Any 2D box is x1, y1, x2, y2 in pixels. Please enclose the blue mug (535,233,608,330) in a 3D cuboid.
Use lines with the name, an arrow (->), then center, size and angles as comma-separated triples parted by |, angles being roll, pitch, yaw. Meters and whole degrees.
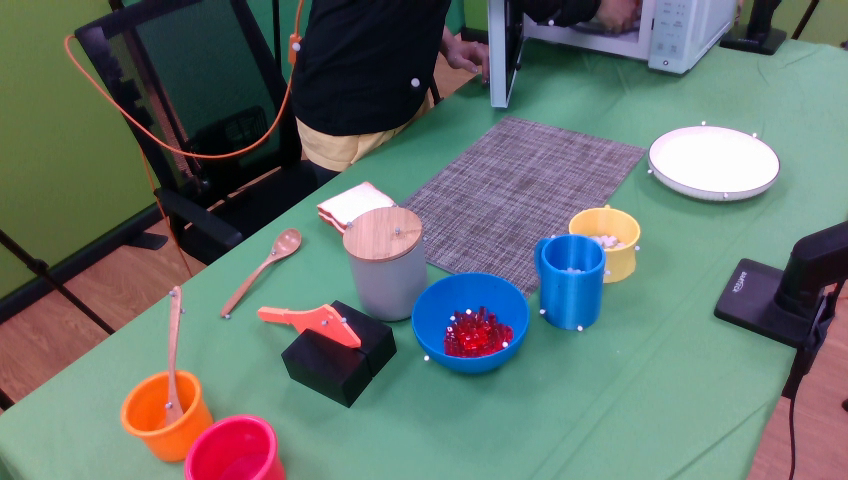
blue mug -> 0.191, 0.048, 0.824 | 0.082, 0.106, 0.115 | -26, 44, -20

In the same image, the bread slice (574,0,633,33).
bread slice -> 0.431, -0.565, 1.474 | 0.105, 0.019, 0.131 | -29, 70, -24

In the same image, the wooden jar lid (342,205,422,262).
wooden jar lid -> -0.055, -0.005, 0.808 | 0.108, 0.021, 0.108 | -6, 41, 6

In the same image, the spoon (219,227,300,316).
spoon -> -0.260, 0.046, 0.954 | 0.041, 0.021, 0.194 | 27, 48, 10

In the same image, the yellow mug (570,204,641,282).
yellow mug -> 0.268, -0.005, 0.904 | 0.099, 0.064, 0.130 | 7, 42, 15

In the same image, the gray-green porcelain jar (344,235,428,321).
gray-green porcelain jar -> -0.049, 0.042, 0.849 | 0.106, 0.127, 0.105 | -4, 41, 4

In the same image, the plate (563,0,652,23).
plate -> 0.440, -0.574, 1.456 | 0.209, 0.038, 0.208 | -5, 45, 5

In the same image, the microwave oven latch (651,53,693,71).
microwave oven latch -> 0.533, -0.386, 1.301 | 0.078, 0.029, 0.030 | 27, 52, 34

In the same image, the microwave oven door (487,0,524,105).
microwave oven door -> 0.182, -0.488, 1.314 | 0.039, 0.245, 0.355 | 4, 42, 13

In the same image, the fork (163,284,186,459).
fork -> -0.303, 0.157, 0.733 | 0.028, 0.019, 0.207 | -3, 84, 13

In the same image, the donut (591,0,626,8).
donut -> 0.436, -0.589, 1.431 | 0.099, 0.048, 0.098 | -2, 56, 3

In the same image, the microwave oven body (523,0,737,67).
microwave oven body -> 0.475, -0.601, 1.411 | 0.438, 0.261, 0.327 | 23, 50, 32

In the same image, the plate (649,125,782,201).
plate -> 0.493, -0.128, 1.036 | 0.207, 0.039, 0.206 | -4, 41, 4

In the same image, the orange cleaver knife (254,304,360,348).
orange cleaver knife -> -0.161, 0.115, 0.813 | 0.210, 0.077, 0.012 | -4, 33, 46

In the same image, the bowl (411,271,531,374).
bowl -> 0.062, 0.119, 0.780 | 0.151, 0.077, 0.150 | -4, 40, 4
